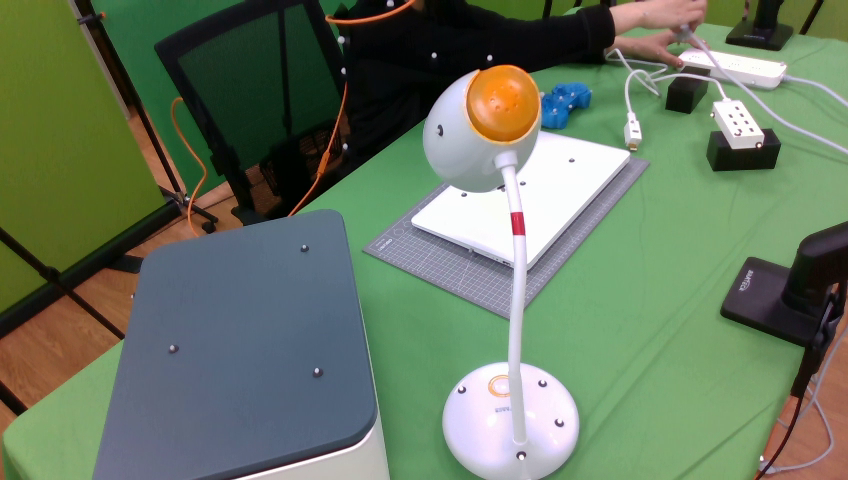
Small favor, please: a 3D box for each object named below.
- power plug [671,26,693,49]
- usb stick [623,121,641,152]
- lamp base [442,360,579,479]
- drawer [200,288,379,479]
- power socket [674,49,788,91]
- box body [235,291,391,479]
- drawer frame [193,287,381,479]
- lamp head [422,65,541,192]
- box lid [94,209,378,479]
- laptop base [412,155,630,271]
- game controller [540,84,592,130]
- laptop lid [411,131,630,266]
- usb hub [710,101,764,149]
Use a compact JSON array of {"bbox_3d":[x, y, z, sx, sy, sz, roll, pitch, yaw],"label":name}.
[{"bbox_3d":[0.529,-0.409,1.245,0.035,0.053,0.072,-2,53,17],"label":"power plug"},{"bbox_3d":[0.389,-0.192,1.128,0.021,0.027,0.059,8,63,-8],"label":"usb stick"},{"bbox_3d":[0.094,0.158,0.657,0.161,0.181,0.178,-13,42,-5],"label":"lamp base"},{"bbox_3d":[-0.172,0.176,0.760,0.195,0.073,0.210,-13,42,-8],"label":"drawer"},{"bbox_3d":[0.647,-0.363,1.284,0.225,0.033,0.072,25,51,34],"label":"power socket"},{"bbox_3d":[-0.190,0.161,0.723,0.255,0.161,0.361,-13,40,-5],"label":"box body"},{"bbox_3d":[-0.172,0.176,0.755,0.202,0.083,0.212,-14,42,-7],"label":"drawer frame"},{"bbox_3d":[0.060,-0.106,0.560,0.113,0.112,0.122,-16,1,-8],"label":"lamp head"},{"bbox_3d":[-0.202,0.094,0.680,0.264,0.015,0.368,-13,39,-5],"label":"box lid"},{"bbox_3d":[0.176,-0.084,1.056,0.233,0.023,0.355,20,48,36],"label":"laptop base"},{"bbox_3d":[0.277,-0.282,1.251,0.096,0.052,0.155,27,52,30],"label":"game controller"},{"bbox_3d":[0.172,-0.094,1.050,0.239,0.013,0.358,23,49,36],"label":"laptop lid"},{"bbox_3d":[0.536,-0.200,1.041,0.049,0.025,0.124,-4,39,8],"label":"usb hub"}]
